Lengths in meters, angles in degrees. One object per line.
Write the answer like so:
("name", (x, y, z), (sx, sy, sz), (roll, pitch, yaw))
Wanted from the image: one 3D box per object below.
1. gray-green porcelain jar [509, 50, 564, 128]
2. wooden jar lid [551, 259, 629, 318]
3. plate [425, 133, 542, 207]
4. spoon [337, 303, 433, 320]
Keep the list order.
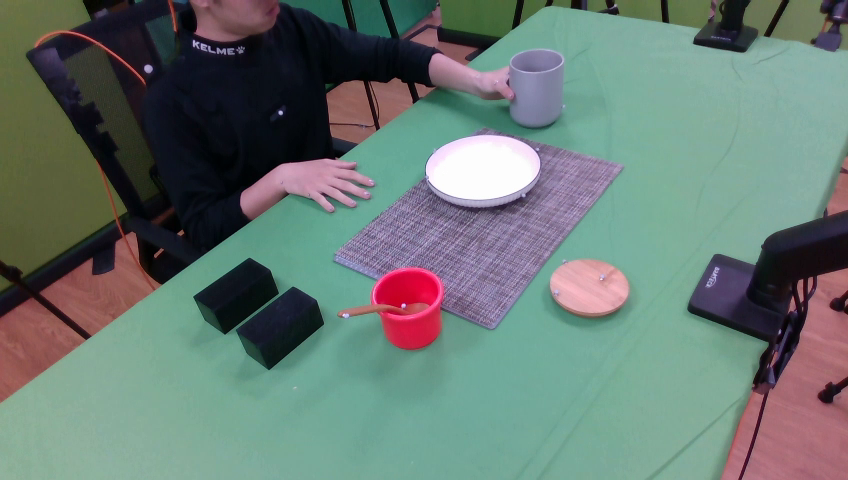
("gray-green porcelain jar", (0.223, -0.297, 1.204), (0.106, 0.127, 0.105), (-4, 41, 4))
("wooden jar lid", (0.234, 0.070, 0.857), (0.108, 0.021, 0.108), (-5, 40, 4))
("plate", (0.106, -0.122, 1.079), (0.207, 0.039, 0.206), (-4, 41, 4))
("spoon", (-0.048, 0.091, 0.777), (0.041, 0.021, 0.195), (23, 5, 32))
